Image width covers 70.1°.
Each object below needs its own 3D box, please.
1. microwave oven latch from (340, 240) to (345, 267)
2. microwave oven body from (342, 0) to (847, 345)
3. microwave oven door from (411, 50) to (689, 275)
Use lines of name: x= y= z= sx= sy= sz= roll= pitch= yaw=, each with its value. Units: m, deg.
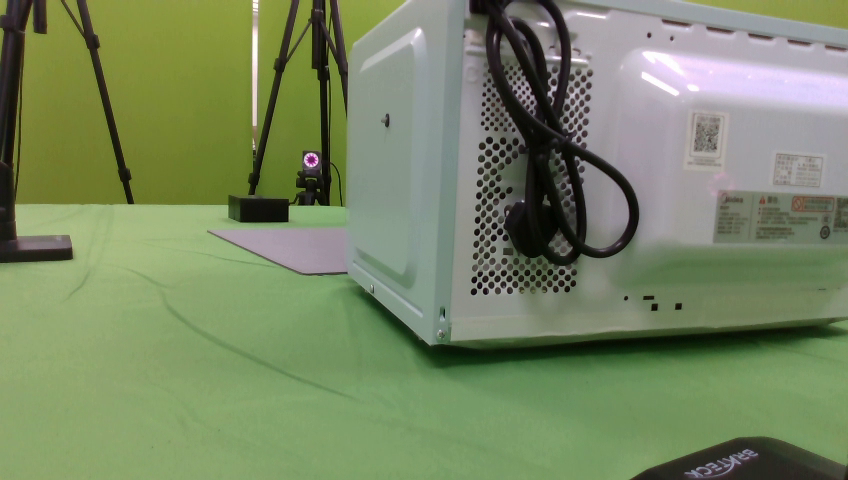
microwave oven latch: x=-0.052 y=0.016 z=0.662 sx=0.079 sy=0.029 sz=0.030 roll=1 pitch=7 yaw=-18
microwave oven body: x=0.169 y=-0.060 z=0.573 sx=0.444 sy=0.260 sz=0.324 roll=1 pitch=7 yaw=-20
microwave oven door: x=0.162 y=-0.084 z=0.723 sx=0.357 sy=0.243 sz=0.039 roll=0 pitch=7 yaw=-20
